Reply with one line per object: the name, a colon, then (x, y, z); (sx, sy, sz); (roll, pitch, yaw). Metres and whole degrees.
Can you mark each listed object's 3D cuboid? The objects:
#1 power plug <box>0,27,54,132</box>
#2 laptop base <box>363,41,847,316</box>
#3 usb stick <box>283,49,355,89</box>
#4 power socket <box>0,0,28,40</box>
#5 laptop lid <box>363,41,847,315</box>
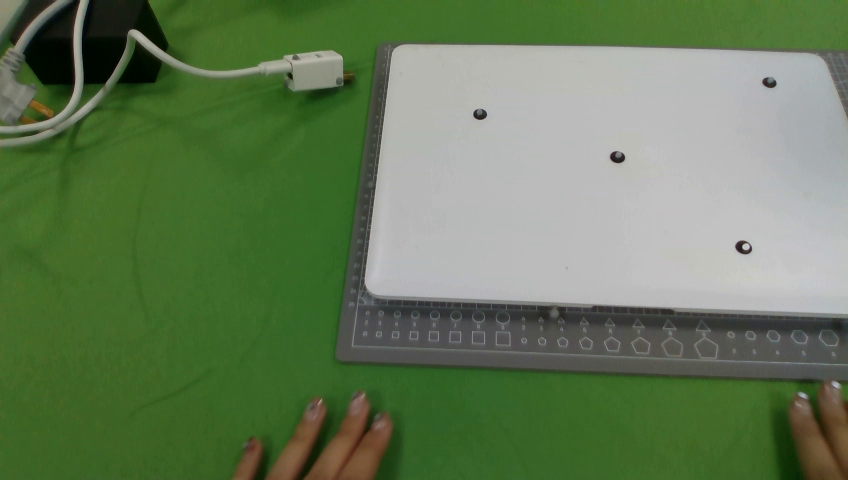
power plug: (-0.313, -0.124, 0.482); (0.072, 0.053, 0.035); (-51, 36, 5)
laptop base: (0.141, -0.055, 0.454); (0.354, 0.023, 0.233); (2, 63, 3)
usb stick: (-0.086, -0.143, 0.503); (0.059, 0.027, 0.021); (-15, 35, -32)
power socket: (-0.422, -0.201, 0.550); (0.072, 0.033, 0.225); (6, 59, 4)
laptop lid: (0.141, -0.059, 0.442); (0.356, 0.013, 0.239); (3, 61, 4)
